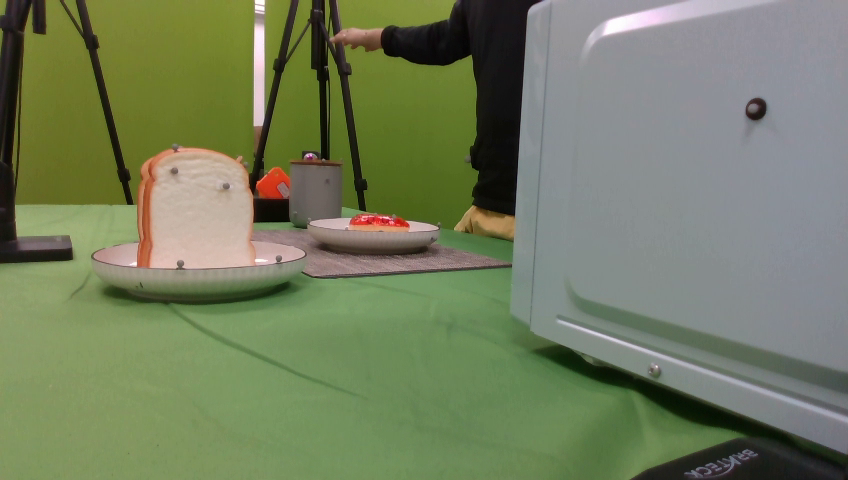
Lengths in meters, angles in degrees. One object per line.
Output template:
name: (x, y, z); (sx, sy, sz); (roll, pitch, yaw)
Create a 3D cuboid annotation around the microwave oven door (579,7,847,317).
microwave oven door: (0.294, -0.067, 0.570); (0.358, 0.243, 0.039); (-3, 9, -31)

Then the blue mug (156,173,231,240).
blue mug: (-0.381, -0.057, 1.004); (0.117, 0.106, 0.082); (0, 8, -12)

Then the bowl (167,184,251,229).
bowl: (-0.408, -0.064, 1.154); (0.151, 0.077, 0.151); (2, 8, 0)

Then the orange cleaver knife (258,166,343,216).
orange cleaver knife: (-0.276, -0.090, 1.369); (0.212, 0.077, 0.012); (33, -11, -34)

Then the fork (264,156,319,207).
fork: (-0.331, -0.144, 1.506); (0.207, 0.018, 0.028); (-42, -22, 22)

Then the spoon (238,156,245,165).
spoon: (-0.477, -0.145, 1.492); (0.041, 0.022, 0.193); (0, 51, 12)

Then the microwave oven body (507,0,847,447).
microwave oven body: (0.331, -0.042, 0.425); (0.444, 0.260, 0.324); (-2, 8, -31)

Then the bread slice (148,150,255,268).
bread slice: (-0.230, -0.024, 0.618); (0.107, 0.134, 0.018); (-8, 10, -34)

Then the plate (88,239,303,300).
plate: (-0.233, 0.029, 0.636); (0.208, 0.039, 0.207); (2, 7, 0)

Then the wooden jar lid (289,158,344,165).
wooden jar lid: (-0.215, -0.153, 1.212); (0.108, 0.020, 0.108); (2, 5, 0)

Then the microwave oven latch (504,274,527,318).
microwave oven latch: (0.100, 0.041, 0.470); (0.079, 0.029, 0.030); (-1, 7, -27)

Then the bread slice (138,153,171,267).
bread slice: (-0.256, -0.029, 0.660); (0.105, 0.131, 0.019); (-1, 0, -36)

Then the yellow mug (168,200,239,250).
yellow mug: (-0.320, -0.023, 0.904); (0.130, 0.064, 0.100); (9, 11, 36)

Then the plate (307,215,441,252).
plate: (-0.078, -0.011, 0.954); (0.209, 0.038, 0.209); (2, 8, 0)

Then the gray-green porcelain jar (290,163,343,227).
gray-green porcelain jar: (-0.217, -0.091, 1.221); (0.106, 0.126, 0.106); (2, 7, 0)

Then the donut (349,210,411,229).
donut: (-0.069, -0.023, 0.961); (0.099, 0.048, 0.099); (3, 4, 0)
